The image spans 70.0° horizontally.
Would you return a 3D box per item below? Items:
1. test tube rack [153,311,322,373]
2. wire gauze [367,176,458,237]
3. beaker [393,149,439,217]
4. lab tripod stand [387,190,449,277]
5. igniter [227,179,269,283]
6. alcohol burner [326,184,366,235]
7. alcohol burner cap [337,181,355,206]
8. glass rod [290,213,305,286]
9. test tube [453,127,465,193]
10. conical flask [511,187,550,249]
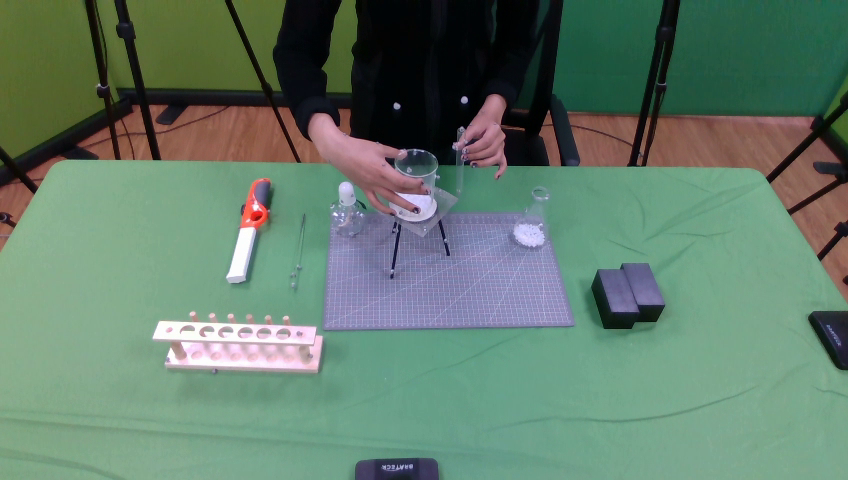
[{"bbox_3d":[-0.293,0.160,0.978,0.242,0.085,0.066,3,46,-2],"label":"test tube rack"},{"bbox_3d":[-0.020,-0.066,1.089,0.124,0.011,0.121,27,47,22],"label":"wire gauze"},{"bbox_3d":[-0.017,-0.099,1.053,0.074,0.101,0.083,1,46,-6],"label":"beaker"},{"bbox_3d":[-0.021,-0.018,1.135,0.148,0.132,0.147,3,44,-3],"label":"lab tripod stand"},{"bbox_3d":[-0.345,-0.027,1.195,0.057,0.025,0.274,-6,46,4],"label":"igniter"},{"bbox_3d":[-0.152,-0.066,1.184,0.078,0.119,0.077,4,46,-4],"label":"alcohol burner"},{"bbox_3d":[-0.151,-0.090,1.158,0.034,0.048,0.033,0,52,0],"label":"alcohol burner cap"},{"bbox_3d":[-0.245,0.015,1.175,0.008,0.008,0.198,1,43,-3],"label":"glass rod"},{"bbox_3d":[0.065,-0.146,1.133,0.017,0.151,0.017,0,47,0],"label":"test tube"},{"bbox_3d":[0.217,-0.048,1.190,0.075,0.122,0.075,2,46,-2],"label":"conical flask"}]
